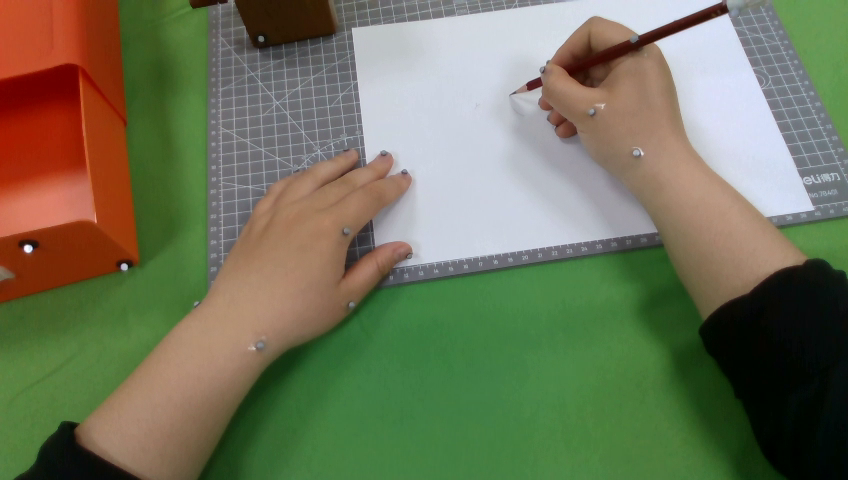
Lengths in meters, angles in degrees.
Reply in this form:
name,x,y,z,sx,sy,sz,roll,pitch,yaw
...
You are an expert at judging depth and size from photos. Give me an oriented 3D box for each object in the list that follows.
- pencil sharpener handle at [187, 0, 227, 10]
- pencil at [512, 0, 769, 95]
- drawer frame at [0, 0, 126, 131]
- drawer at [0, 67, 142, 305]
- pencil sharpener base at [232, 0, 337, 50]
name,x,y,z,sx,sy,sz,roll,pitch,yaw
pencil sharpener handle,-0.164,-0.194,0.431,0.030,0.068,0.035,-14,63,-3
pencil,0.122,-0.118,0.376,0.012,0.193,0.012,5,82,-36
drawer frame,-0.342,-0.160,0.452,0.202,0.083,0.211,-16,66,-4
drawer,-0.309,-0.057,0.407,0.194,0.074,0.210,-16,66,-5
pencil sharpener base,-0.114,-0.201,0.445,0.077,0.108,0.061,-14,66,-3
